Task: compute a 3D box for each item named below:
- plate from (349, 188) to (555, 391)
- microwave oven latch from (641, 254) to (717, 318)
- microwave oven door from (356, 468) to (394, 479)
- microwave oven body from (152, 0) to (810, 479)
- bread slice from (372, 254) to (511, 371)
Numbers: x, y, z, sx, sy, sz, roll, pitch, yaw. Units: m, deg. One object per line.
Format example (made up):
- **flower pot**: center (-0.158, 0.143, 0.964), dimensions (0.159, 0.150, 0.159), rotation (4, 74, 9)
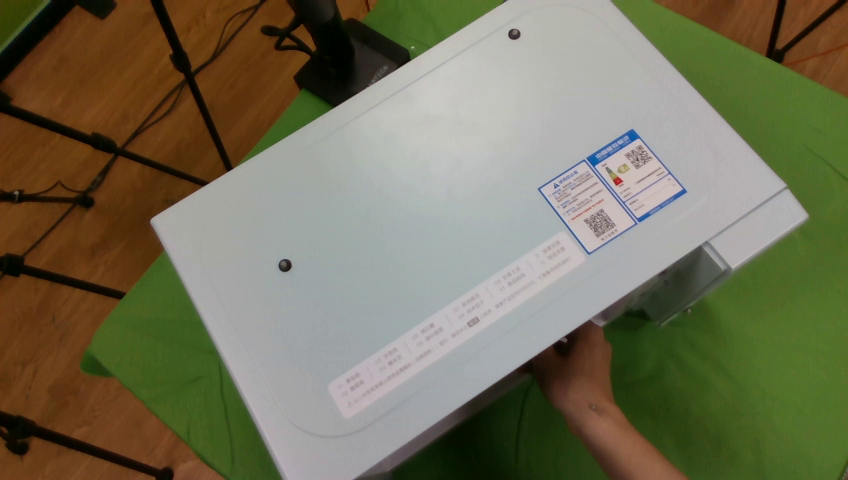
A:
- **plate**: center (0.028, 0.050, 0.624), dimensions (0.207, 0.039, 0.206), rotation (-1, 74, 4)
- **microwave oven latch**: center (0.278, 0.052, 0.659), dimensions (0.079, 0.030, 0.030), rotation (-31, 72, -3)
- **microwave oven door**: center (0.080, 0.308, 0.491), dimensions (0.354, 0.245, 0.039), rotation (29, 78, 14)
- **microwave oven body**: center (0.039, 0.003, 0.599), dimensions (0.442, 0.262, 0.323), rotation (-33, 72, -4)
- **bread slice**: center (0.015, 0.070, 0.618), dimensions (0.134, 0.018, 0.106), rotation (9, 73, 4)
